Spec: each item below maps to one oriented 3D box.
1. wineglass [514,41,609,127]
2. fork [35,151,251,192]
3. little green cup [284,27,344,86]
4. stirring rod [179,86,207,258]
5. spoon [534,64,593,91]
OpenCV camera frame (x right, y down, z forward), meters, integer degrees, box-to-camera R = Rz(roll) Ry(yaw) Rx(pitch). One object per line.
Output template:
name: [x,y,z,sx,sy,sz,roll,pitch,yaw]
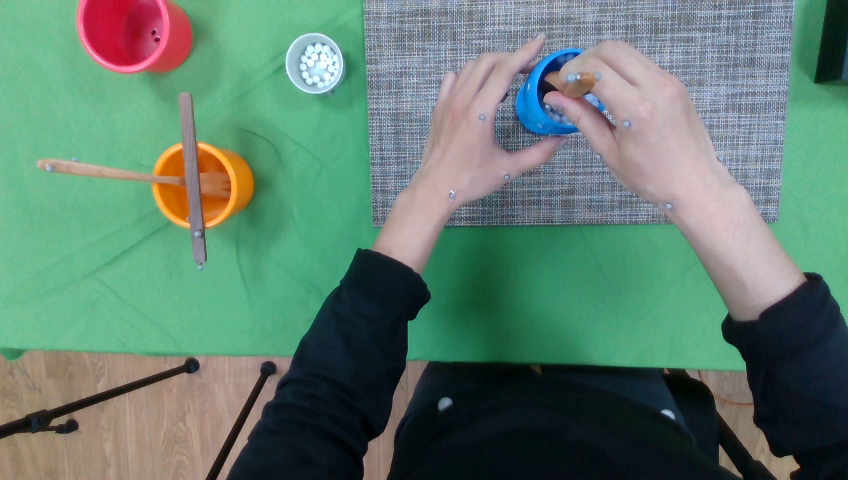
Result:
wineglass: [0.125,-0.142,0.575,0.074,0.172,0.074,1,100,4]
fork: [-0.282,-0.072,0.631,0.209,0.018,0.028,4,111,-41]
little green cup: [-0.116,-0.195,0.653,0.061,0.038,0.062,1,101,4]
stirring rod: [-0.239,-0.069,0.626,0.014,0.006,0.176,-1,100,4]
spoon: [0.107,-0.119,0.451,0.041,0.193,0.022,19,108,1]
